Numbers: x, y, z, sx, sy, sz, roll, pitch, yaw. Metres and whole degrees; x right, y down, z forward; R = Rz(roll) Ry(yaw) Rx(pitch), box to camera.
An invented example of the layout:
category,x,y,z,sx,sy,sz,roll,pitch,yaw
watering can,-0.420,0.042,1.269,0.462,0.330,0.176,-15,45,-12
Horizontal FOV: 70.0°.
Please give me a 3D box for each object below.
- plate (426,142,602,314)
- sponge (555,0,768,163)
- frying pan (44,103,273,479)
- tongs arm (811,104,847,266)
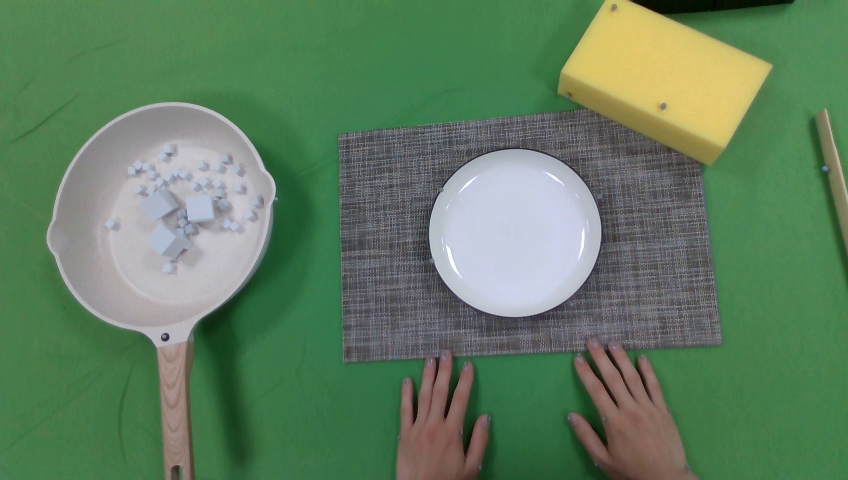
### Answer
category,x,y,z,sx,sy,sz,roll,pitch,yaw
plate,0.106,-0.013,0.734,0.207,0.039,0.207,-1,80,8
sponge,0.279,-0.196,0.730,0.206,0.061,0.118,29,84,13
frying pan,-0.313,0.068,0.749,0.306,0.103,0.484,-12,71,7
tongs arm,0.497,0.029,0.682,0.028,0.028,0.386,-10,80,4
